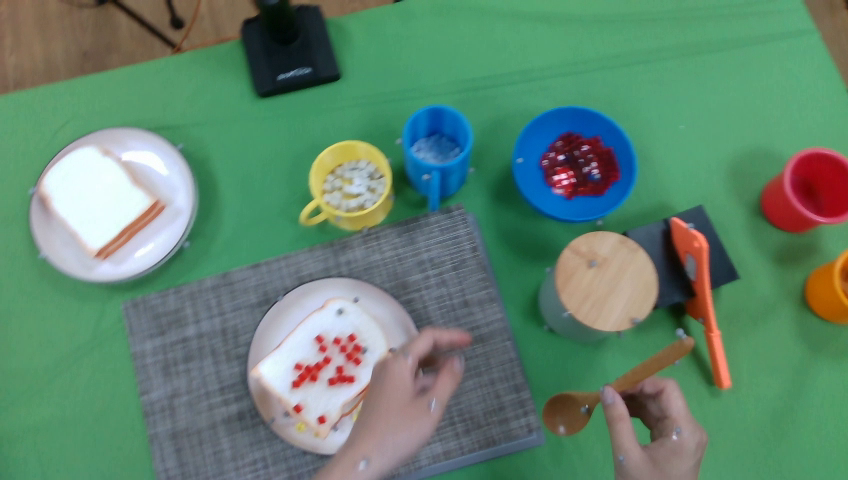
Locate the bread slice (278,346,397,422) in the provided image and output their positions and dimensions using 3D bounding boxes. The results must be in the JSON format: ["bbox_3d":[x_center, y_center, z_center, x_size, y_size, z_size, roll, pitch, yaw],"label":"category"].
[{"bbox_3d":[-0.112,0.151,0.722,0.104,0.019,0.131,40,79,10],"label":"bread slice"}]

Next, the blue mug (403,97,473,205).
[{"bbox_3d":[0.015,-0.101,0.755,0.082,0.106,0.116,5,76,1],"label":"blue mug"}]

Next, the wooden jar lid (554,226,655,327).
[{"bbox_3d":[0.191,0.039,0.646,0.108,0.021,0.108,1,78,-3],"label":"wooden jar lid"}]

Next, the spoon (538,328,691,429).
[{"bbox_3d":[0.161,0.125,0.531,0.021,0.194,0.041,-27,74,-37],"label":"spoon"}]

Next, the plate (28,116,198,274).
[{"bbox_3d":[-0.389,-0.056,0.773,0.208,0.039,0.206,0,76,-1],"label":"plate"}]

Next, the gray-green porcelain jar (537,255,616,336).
[{"bbox_3d":[0.191,0.056,0.706,0.106,0.127,0.105,0,75,-1],"label":"gray-green porcelain jar"}]

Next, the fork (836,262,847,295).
[{"bbox_3d":[0.490,0.075,0.693,0.028,0.018,0.207,47,36,4],"label":"fork"}]

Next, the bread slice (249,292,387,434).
[{"bbox_3d":[-0.109,0.124,0.665,0.107,0.018,0.134,39,71,2],"label":"bread slice"}]

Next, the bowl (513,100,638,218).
[{"bbox_3d":[0.183,-0.091,0.768,0.151,0.077,0.150,0,76,-1],"label":"bowl"}]

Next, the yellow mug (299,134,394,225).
[{"bbox_3d":[-0.102,-0.066,0.765,0.131,0.064,0.099,-36,78,-8],"label":"yellow mug"}]

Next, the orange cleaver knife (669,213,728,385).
[{"bbox_3d":[0.327,0.071,0.726,0.012,0.077,0.212,-17,103,-4],"label":"orange cleaver knife"}]

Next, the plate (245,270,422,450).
[{"bbox_3d":[-0.105,0.140,0.723,0.209,0.038,0.208,0,76,0],"label":"plate"}]
